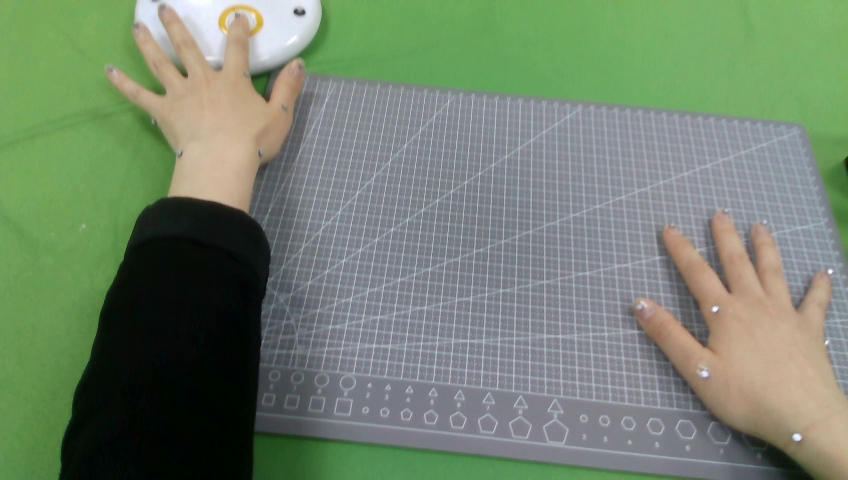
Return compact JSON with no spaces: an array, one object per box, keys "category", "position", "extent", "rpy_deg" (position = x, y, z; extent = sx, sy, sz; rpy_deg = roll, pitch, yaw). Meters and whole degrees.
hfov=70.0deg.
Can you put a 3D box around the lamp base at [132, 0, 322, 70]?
[{"category":"lamp base","position":[-0.175,-0.257,0.471],"extent":[0.160,0.182,0.177],"rpy_deg":[-31,62,-20]}]
